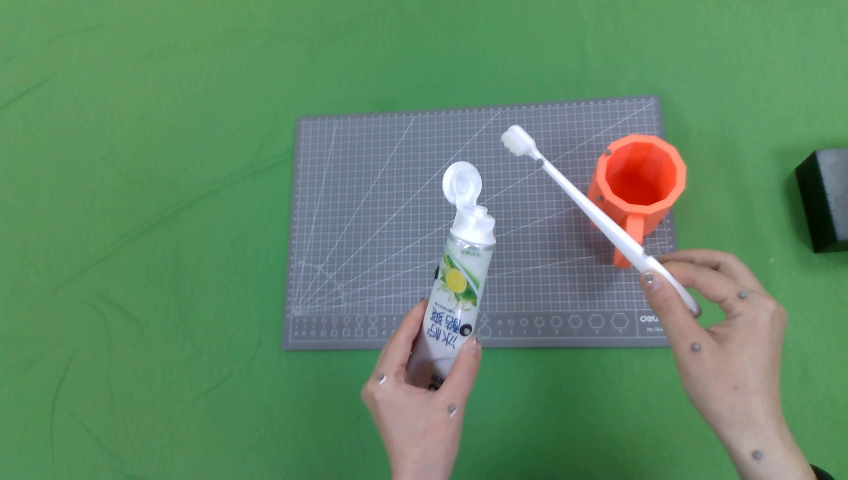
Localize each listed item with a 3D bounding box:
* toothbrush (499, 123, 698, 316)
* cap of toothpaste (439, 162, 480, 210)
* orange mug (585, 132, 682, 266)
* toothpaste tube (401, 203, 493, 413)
[{"bbox_3d":[0.118,-0.015,0.416,0.181,0.014,0.016,46,42,9],"label":"toothbrush"},{"bbox_3d":[0.028,-0.040,0.449,0.037,0.011,0.037,-2,93,-31],"label":"cap of toothpaste"},{"bbox_3d":[0.218,-0.039,0.644,0.083,0.101,0.125,7,71,10],"label":"orange mug"},{"bbox_3d":[0.019,0.050,0.459,0.054,0.035,0.165,24,110,32],"label":"toothpaste tube"}]
